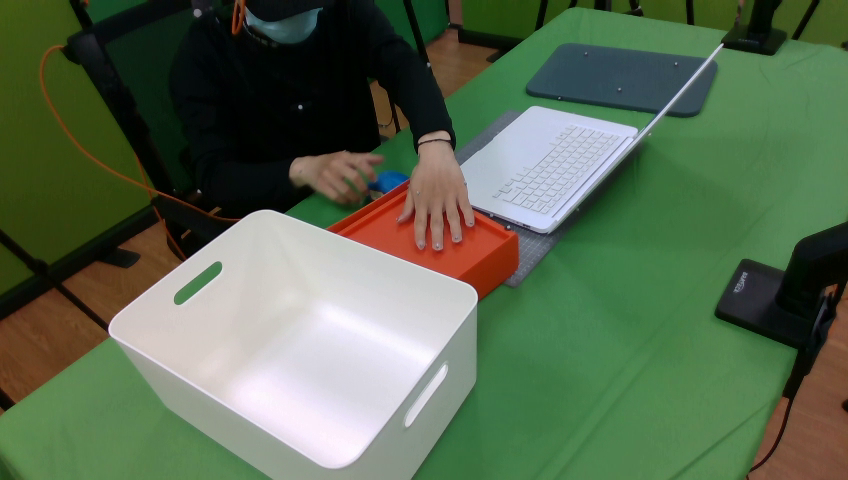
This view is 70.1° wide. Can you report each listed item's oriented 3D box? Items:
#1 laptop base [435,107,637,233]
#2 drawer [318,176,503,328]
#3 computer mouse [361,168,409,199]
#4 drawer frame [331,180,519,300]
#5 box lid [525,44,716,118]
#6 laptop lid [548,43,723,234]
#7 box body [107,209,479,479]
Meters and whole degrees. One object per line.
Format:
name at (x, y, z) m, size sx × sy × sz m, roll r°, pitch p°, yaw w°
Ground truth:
laptop base at (0.210, -0.142, 1.111) m, size 0.233 × 0.023 × 0.355 m, roll 21°, pitch 47°, yaw 34°
drawer at (-0.019, 0.010, 0.915) m, size 0.195 × 0.073 × 0.210 m, roll -33°, pitch 48°, yaw -27°
computer mouse at (-0.054, -0.093, 1.072) m, size 0.116 × 0.041 × 0.063 m, roll 23°, pitch 45°, yaw 28°
drawer frame at (-0.003, 0.020, 0.901) m, size 0.202 × 0.083 × 0.211 m, roll -35°, pitch 48°, yaw -28°
box lid at (0.432, -0.360, 1.341) m, size 0.369 × 0.015 × 0.263 m, roll 16°, pitch 45°, yaw 24°
laptop lid at (0.336, -0.160, 0.956) m, size 0.013 × 0.241 × 0.358 m, roll 43°, pitch 54°, yaw 8°
box body at (-0.140, 0.136, 0.725) m, size 0.361 × 0.161 × 0.254 m, roll 19°, pitch 47°, yaw 28°
